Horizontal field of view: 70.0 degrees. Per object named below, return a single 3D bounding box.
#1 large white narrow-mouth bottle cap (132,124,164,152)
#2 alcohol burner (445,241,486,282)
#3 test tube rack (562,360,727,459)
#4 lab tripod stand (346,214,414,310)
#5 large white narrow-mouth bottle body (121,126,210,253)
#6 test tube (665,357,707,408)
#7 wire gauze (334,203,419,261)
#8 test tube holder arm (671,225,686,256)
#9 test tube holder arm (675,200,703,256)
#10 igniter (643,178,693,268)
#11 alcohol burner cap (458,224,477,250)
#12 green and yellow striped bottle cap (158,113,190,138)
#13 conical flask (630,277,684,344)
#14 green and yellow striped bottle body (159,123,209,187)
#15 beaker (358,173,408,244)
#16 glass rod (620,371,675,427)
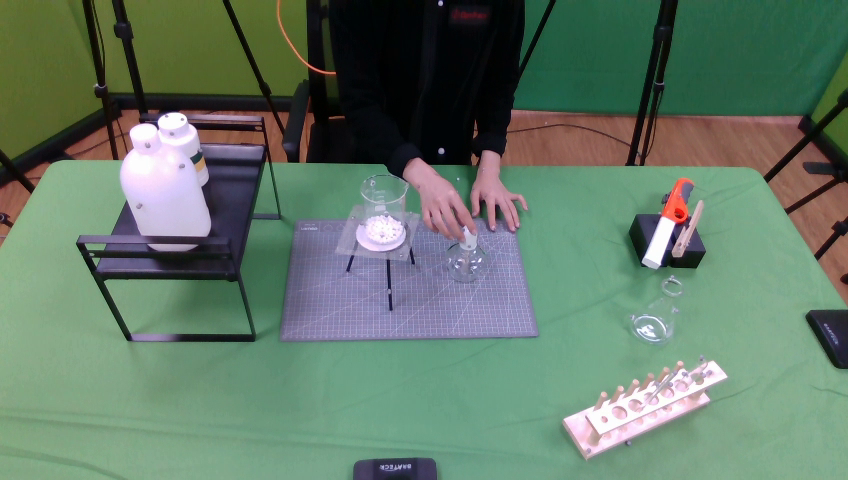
[{"bbox_3d":[-0.371,-0.137,0.813,0.038,0.024,0.037,3,46,-3],"label":"large white narrow-mouth bottle cap"},{"bbox_3d":[0.077,0.021,1.115,0.078,0.120,0.077,1,48,-1],"label":"alcohol burner"},{"bbox_3d":[0.341,0.247,0.940,0.243,0.085,0.066,-16,49,-19],"label":"test tube rack"},{"bbox_3d":[-0.075,0.030,1.082,0.148,0.132,0.147,1,47,-1],"label":"lab tripod stand"},{"bbox_3d":[-0.378,-0.077,0.875,0.102,0.195,0.101,3,46,-3],"label":"large white narrow-mouth bottle body"},{"bbox_3d":[0.387,0.215,0.905,0.017,0.151,0.017,1,52,-1],"label":"test tube"},{"bbox_3d":[-0.079,-0.013,1.031,0.121,0.011,0.124,8,48,7],"label":"wire gauze"},{"bbox_3d":[0.494,0.001,1.167,0.010,0.015,0.087,1,36,42],"label":"test tube holder arm"},{"bbox_3d":[0.523,-0.025,1.190,0.013,0.015,0.178,1,36,41],"label":"test tube holder arm"},{"bbox_3d":[0.488,-0.042,1.205,0.057,0.025,0.276,30,51,11],"label":"igniter"},{"bbox_3d":[0.080,-0.008,1.084,0.034,0.048,0.033,2,48,-2],"label":"alcohol burner cap"},{"bbox_3d":[-0.393,-0.180,0.951,0.045,0.020,0.045,2,44,-2],"label":"green and yellow striped bottle cap"},{"bbox_3d":[0.408,0.117,1.045,0.075,0.122,0.075,2,46,-2],"label":"conical flask"},{"bbox_3d":[-0.395,-0.145,0.989,0.063,0.120,0.063,2,46,-2],"label":"green and yellow striped bottle body"},{"bbox_3d":[-0.066,-0.050,1.001,0.084,0.101,0.073,-18,49,-20],"label":"beaker"},{"bbox_3d":[0.315,0.230,0.863,0.008,0.200,0.008,3,54,-3],"label":"glass rod"}]
